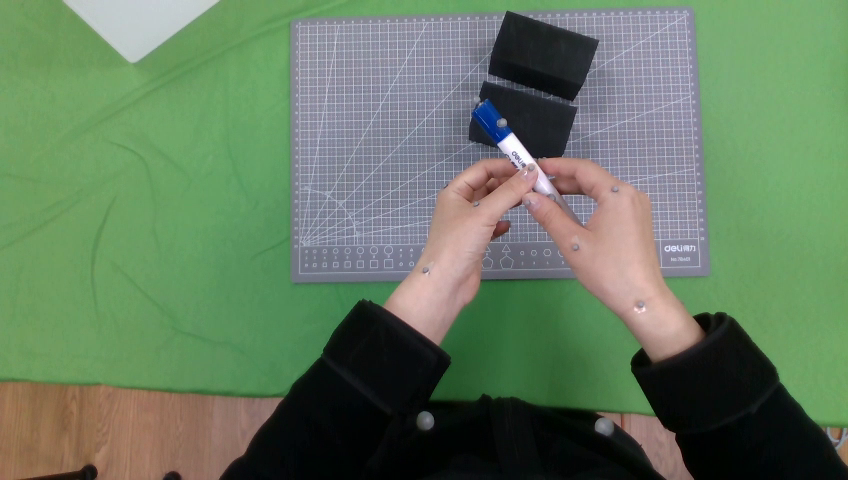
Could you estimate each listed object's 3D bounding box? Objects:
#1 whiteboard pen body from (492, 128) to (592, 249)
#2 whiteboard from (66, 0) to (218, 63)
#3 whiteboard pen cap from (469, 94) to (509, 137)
[{"bbox_3d":[0.087,-0.049,0.474,0.017,0.017,0.141,-40,103,-2],"label":"whiteboard pen body"},{"bbox_3d":[-0.321,-0.371,0.584,0.217,0.308,0.142,-36,64,-1],"label":"whiteboard"},{"bbox_3d":[0.051,-0.093,0.461,0.018,0.018,0.033,-42,103,-2],"label":"whiteboard pen cap"}]
